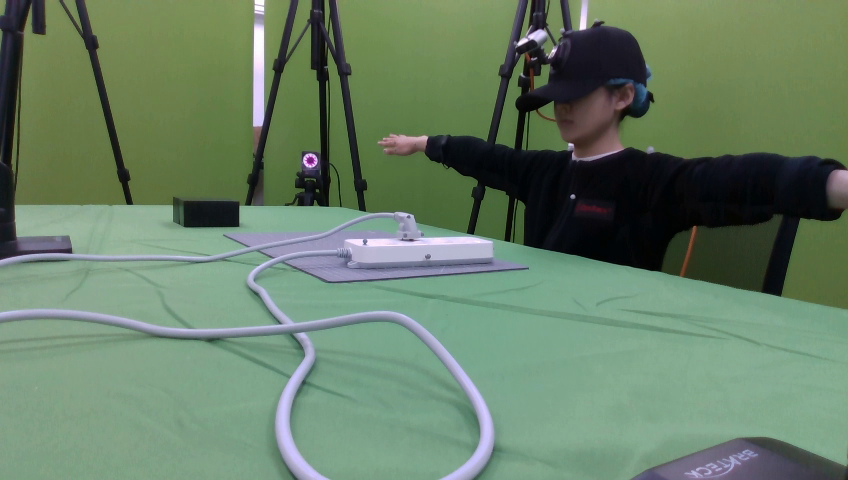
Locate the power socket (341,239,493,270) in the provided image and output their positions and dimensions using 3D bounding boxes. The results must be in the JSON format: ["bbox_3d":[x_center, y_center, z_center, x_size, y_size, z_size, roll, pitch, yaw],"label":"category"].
[{"bbox_3d":[-0.006,0.018,0.831,0.228,0.032,0.072,-1,7,-28],"label":"power socket"}]

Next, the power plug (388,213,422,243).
[{"bbox_3d":[-0.027,-0.010,0.848,0.035,0.052,0.072,1,8,-18],"label":"power plug"}]
